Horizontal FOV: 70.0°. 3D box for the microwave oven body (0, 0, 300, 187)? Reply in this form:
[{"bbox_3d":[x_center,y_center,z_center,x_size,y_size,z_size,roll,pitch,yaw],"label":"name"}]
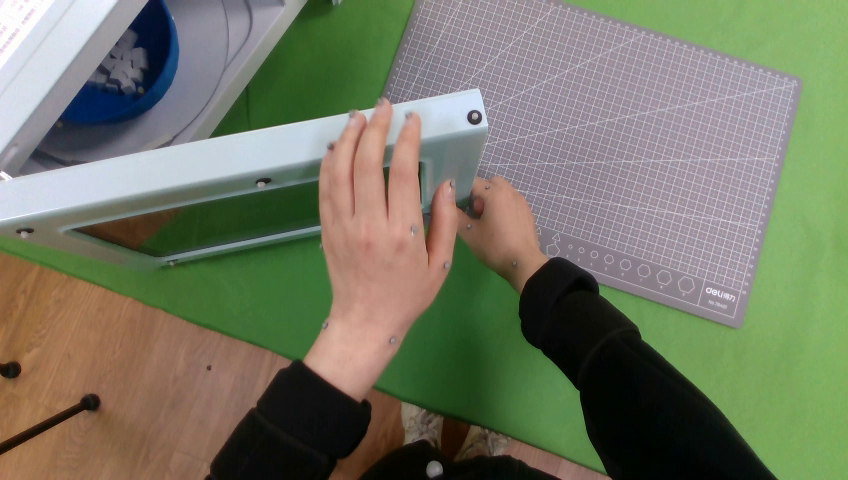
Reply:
[{"bbox_3d":[-0.306,-0.260,0.564,0.325,0.261,0.441,33,83,4],"label":"microwave oven body"}]

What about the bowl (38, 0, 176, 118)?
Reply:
[{"bbox_3d":[-0.304,-0.178,0.584,0.151,0.077,0.150,0,78,1],"label":"bowl"}]

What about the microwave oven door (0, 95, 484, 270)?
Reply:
[{"bbox_3d":[-0.132,-0.039,0.529,0.356,0.244,0.039,-11,80,-2],"label":"microwave oven door"}]
